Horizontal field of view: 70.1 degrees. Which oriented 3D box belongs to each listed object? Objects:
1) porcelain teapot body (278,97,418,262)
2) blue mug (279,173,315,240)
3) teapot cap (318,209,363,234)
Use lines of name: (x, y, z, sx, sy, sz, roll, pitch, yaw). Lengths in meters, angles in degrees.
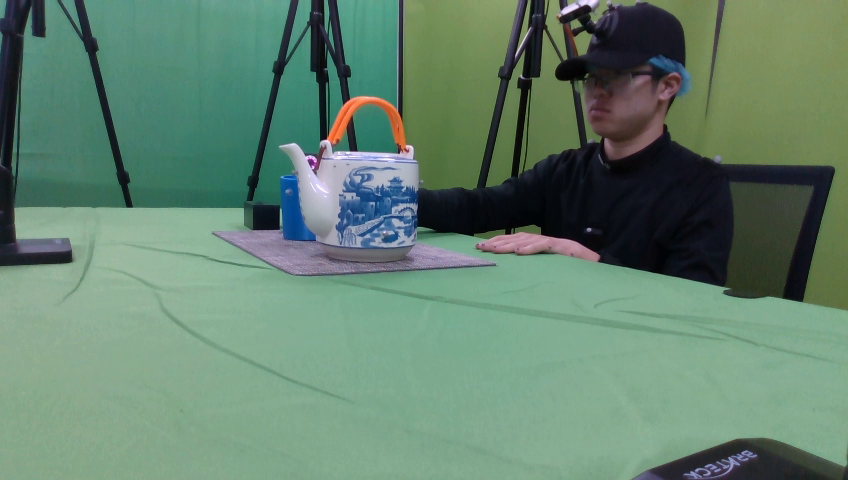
porcelain teapot body: (-0.104, -0.086, 0.842, 0.206, 0.225, 0.144, -4, 10, -38)
blue mug: (-0.189, -0.060, 1.046, 0.117, 0.106, 0.082, -7, 13, -28)
teapot cap: (-0.158, -0.036, 1.144, 0.085, 0.044, 0.085, 0, 6, 0)
